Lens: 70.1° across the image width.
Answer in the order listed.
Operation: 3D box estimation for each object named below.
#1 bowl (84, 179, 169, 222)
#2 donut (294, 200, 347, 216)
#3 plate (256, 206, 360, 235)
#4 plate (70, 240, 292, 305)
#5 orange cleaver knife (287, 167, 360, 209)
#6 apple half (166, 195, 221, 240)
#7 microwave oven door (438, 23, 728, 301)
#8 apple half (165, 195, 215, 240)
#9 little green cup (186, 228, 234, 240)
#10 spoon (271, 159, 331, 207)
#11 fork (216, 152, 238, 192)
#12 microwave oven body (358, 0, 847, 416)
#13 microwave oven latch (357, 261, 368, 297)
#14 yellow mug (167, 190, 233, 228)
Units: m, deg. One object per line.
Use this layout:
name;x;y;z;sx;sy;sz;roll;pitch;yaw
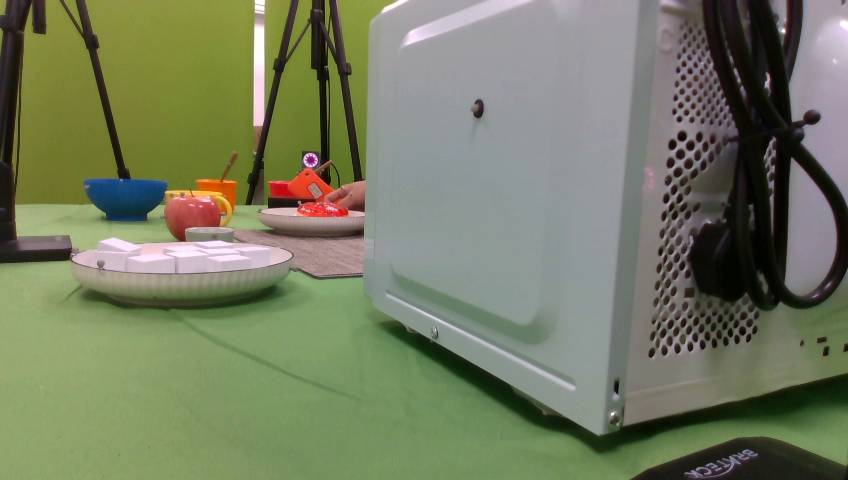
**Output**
bowl;-0.584;-0.078;1.194;0.151;0.077;0.151;3;8;0
donut;-0.193;-0.049;1.134;0.099;0.048;0.099;4;8;0
plate;-0.202;-0.037;1.120;0.209;0.038;0.209;2;8;0
plate;-0.241;0.031;0.618;0.208;0.039;0.207;2;8;0
orange cleaver knife;-0.209;-0.089;1.383;0.212;0.077;0.012;31;3;-15
apple half;-0.352;-0.031;0.935;0.081;0.074;0.053;1;11;-40
microwave oven door;0.181;-0.072;0.620;0.358;0.243;0.039;-2;8;-29
apple half;-0.377;-0.038;0.964;0.082;0.081;0.032;-4;15;-39
little green cup;-0.284;0.005;0.805;0.061;0.038;0.061;2;8;0
spoon;-0.307;-0.141;1.514;0.193;0.021;0.041;-41;4;8
fork;-0.455;-0.132;1.366;0.028;0.018;0.207;-2;-35;-37
microwave oven body;0.211;-0.047;0.474;0.444;0.260;0.324;-1;8;-28
microwave oven latch;-0.019;0.033;0.531;0.079;0.029;0.030;-1;7;-27
yellow mug;-0.415;-0.057;1.132;0.130;0.064;0.100;6;8;16
